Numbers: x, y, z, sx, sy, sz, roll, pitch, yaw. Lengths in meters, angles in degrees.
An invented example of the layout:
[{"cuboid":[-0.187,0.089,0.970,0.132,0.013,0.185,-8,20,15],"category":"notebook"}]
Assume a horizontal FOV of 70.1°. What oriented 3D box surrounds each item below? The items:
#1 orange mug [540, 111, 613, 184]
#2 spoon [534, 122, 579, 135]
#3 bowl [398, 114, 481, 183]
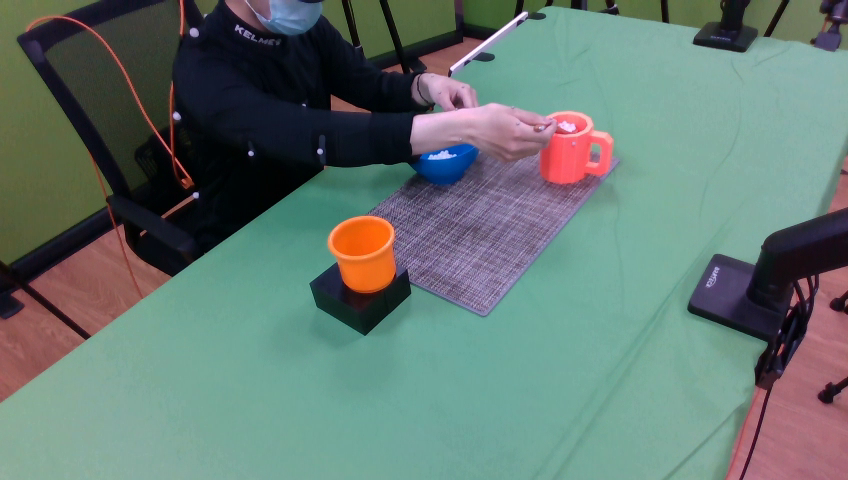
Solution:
[{"cuboid":[0.263,-0.159,1.052,0.125,0.101,0.083,12,45,28],"category":"orange mug"},{"cuboid":[0.211,-0.183,0.984,0.041,0.021,0.195,8,10,28],"category":"spoon"},{"cuboid":[0.031,-0.156,1.097,0.151,0.077,0.150,-4,41,4],"category":"bowl"}]
